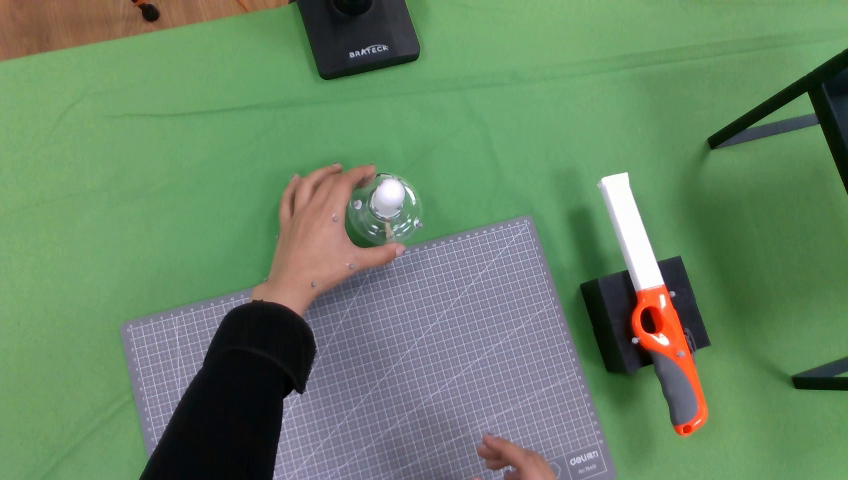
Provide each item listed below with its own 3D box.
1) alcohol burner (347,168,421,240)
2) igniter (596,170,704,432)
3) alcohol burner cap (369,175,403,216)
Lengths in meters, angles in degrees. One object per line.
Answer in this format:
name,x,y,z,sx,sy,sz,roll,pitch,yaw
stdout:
alcohol burner,-0.039,-0.041,0.616,0.078,0.119,0.077,2,78,-10
igniter,0.236,0.059,0.635,0.057,0.025,0.275,-12,78,-10
alcohol burner cap,-0.036,-0.045,0.586,0.034,0.048,0.033,2,77,-9
